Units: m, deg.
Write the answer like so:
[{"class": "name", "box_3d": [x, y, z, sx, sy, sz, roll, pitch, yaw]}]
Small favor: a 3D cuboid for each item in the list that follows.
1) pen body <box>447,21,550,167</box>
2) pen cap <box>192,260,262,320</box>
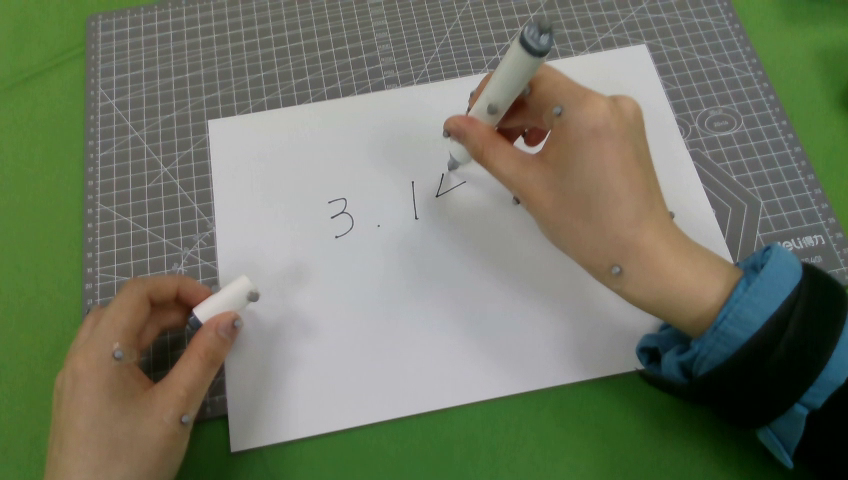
[{"class": "pen body", "box_3d": [0.031, -0.065, 0.313, 0.017, 0.144, 0.017, 3, 75, -12]}, {"class": "pen cap", "box_3d": [-0.105, 0.028, 0.322, 0.038, 0.017, 0.017, -35, 70, 11]}]
